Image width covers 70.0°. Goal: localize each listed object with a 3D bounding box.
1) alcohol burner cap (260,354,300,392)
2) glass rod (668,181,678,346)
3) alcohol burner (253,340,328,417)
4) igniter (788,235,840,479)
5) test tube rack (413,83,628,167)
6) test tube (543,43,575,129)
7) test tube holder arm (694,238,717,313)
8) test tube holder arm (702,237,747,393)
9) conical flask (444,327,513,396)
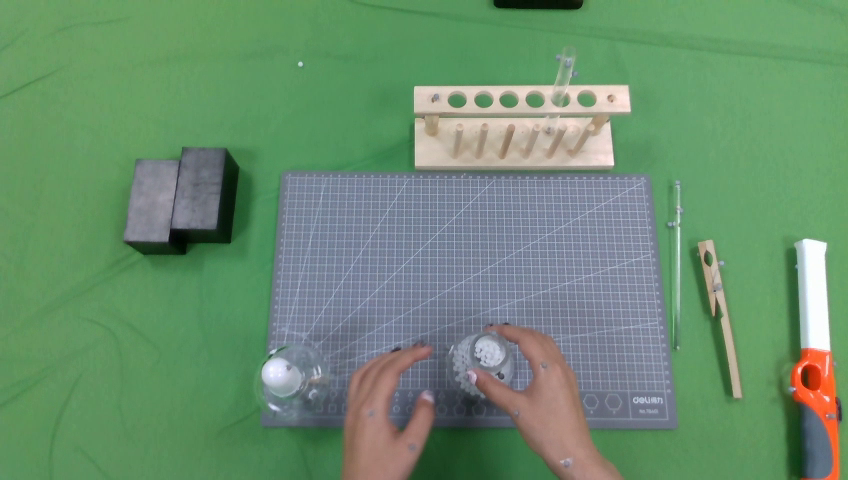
[{"bbox_3d":[-0.140,0.125,0.579,0.034,0.048,0.033,0,64,0],"label":"alcohol burner cap"},{"bbox_3d":[0.291,0.025,0.709,0.008,0.008,0.198,7,76,1],"label":"glass rod"},{"bbox_3d":[-0.139,0.138,0.613,0.078,0.120,0.077,0,72,1],"label":"alcohol burner"},{"bbox_3d":[0.429,0.128,0.670,0.057,0.025,0.275,11,73,-8],"label":"igniter"},{"bbox_3d":[0.108,-0.134,0.716,0.242,0.085,0.066,0,73,-1],"label":"test tube rack"},{"bbox_3d":[0.148,-0.166,0.674,0.017,0.151,0.017,-1,70,4],"label":"test tube"},{"bbox_3d":[0.328,0.041,0.701,0.010,0.015,0.087,-17,71,33],"label":"test tube holder arm"},{"bbox_3d":[0.338,0.082,0.685,0.013,0.015,0.177,-19,70,32],"label":"test tube holder arm"},{"bbox_3d":[0.060,0.118,0.617,0.075,0.122,0.075,0,73,0],"label":"conical flask"}]
